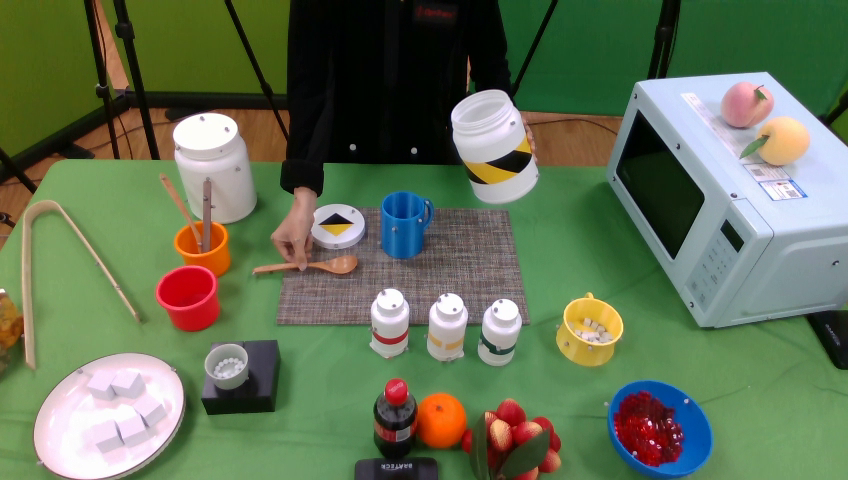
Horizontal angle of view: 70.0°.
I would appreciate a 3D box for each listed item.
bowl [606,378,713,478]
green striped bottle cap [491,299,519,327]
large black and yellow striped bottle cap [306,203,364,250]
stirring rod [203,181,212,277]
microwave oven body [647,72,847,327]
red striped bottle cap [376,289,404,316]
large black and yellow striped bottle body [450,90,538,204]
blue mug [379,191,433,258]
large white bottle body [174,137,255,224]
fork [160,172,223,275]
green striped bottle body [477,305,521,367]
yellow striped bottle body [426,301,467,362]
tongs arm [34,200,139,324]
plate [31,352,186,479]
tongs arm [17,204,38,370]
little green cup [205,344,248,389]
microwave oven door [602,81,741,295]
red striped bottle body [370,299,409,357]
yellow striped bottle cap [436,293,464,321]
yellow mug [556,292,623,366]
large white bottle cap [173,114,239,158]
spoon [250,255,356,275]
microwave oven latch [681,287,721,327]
[{"bbox_3d":[0.340,0.292,0.906,0.151,0.077,0.150,2,46,-2],"label":"bowl"},{"bbox_3d":[0.128,0.115,0.957,0.044,0.020,0.044,0,46,0],"label":"green striped bottle cap"},{"bbox_3d":[-0.178,-0.029,1.211,0.115,0.019,0.114,2,47,-2],"label":"large black and yellow striped bottle cap"},{"bbox_3d":[-0.396,-0.021,1.108,0.014,0.006,0.176,-1,89,-1],"label":"stirring rod"},{"bbox_3d":[0.607,-0.090,1.164,0.326,0.261,0.438,-7,46,-10],"label":"microwave oven body"},{"bbox_3d":[-0.055,0.098,0.958,0.044,0.018,0.044,0,48,0],"label":"red striped bottle cap"},{"bbox_3d":[0.129,-0.174,1.135,0.131,0.185,0.130,-17,38,14],"label":"large black and yellow striped bottle body"},{"bbox_3d":[-0.031,-0.035,1.167,0.116,0.106,0.082,-26,54,-27],"label":"blue mug"},{"bbox_3d":[-0.408,-0.137,1.183,0.131,0.185,0.130,2,46,-2],"label":"large white bottle body"},{"bbox_3d":[-0.425,-0.030,1.103,0.028,0.018,0.207,-29,99,-20],"label":"fork"},{"bbox_3d":[0.124,0.151,0.995,0.063,0.120,0.063,2,46,-2],"label":"green striped bottle body"},{"bbox_3d":[0.037,0.142,0.996,0.063,0.121,0.062,2,46,-2],"label":"yellow striped bottle body"},{"bbox_3d":[-0.622,0.034,1.105,0.051,0.026,0.382,-32,55,-26],"label":"tongs arm"},{"bbox_3d":[-0.459,0.262,0.898,0.209,0.038,0.208,2,46,-2],"label":"plate"},{"bbox_3d":[-0.698,0.069,1.068,0.028,0.028,0.385,-20,50,-13],"label":"tongs arm"},{"bbox_3d":[-0.294,0.191,0.909,0.061,0.039,0.061,1,48,-1],"label":"little green cup"},{"bbox_3d":[0.456,-0.107,1.162,0.039,0.245,0.353,-6,47,-11],"label":"microwave oven door"},{"bbox_3d":[-0.057,0.135,0.997,0.063,0.120,0.062,2,47,-2],"label":"red striped bottle body"},{"bbox_3d":[0.041,0.106,0.959,0.044,0.019,0.044,-1,49,1],"label":"yellow striped bottle cap"},{"bbox_3d":[0.285,0.145,1.051,0.100,0.064,0.130,7,45,3],"label":"yellow mug"},{"bbox_3d":[-0.403,-0.195,1.122,0.115,0.018,0.114,2,47,-2],"label":"large white bottle cap"},{"bbox_3d":[-0.224,0.048,1.126,0.194,0.022,0.041,-1,67,-10],"label":"spoon"},{"bbox_3d":[0.494,0.119,1.087,0.030,0.029,0.078,-6,46,-9],"label":"microwave oven latch"}]
